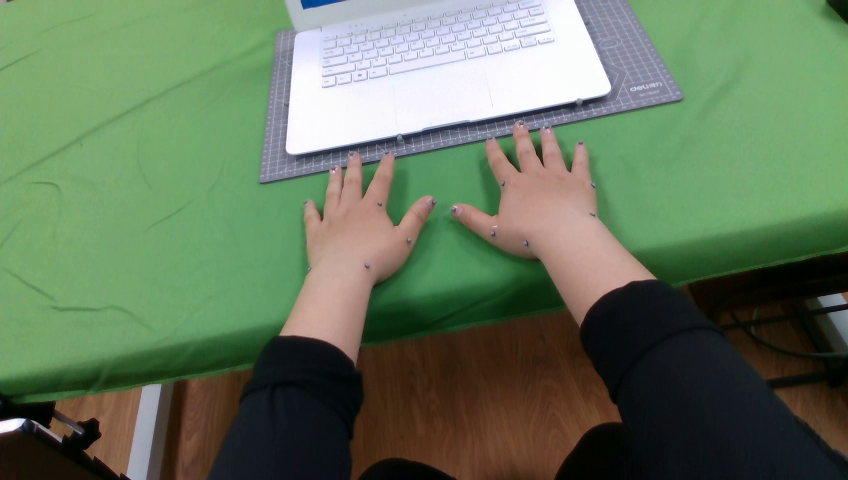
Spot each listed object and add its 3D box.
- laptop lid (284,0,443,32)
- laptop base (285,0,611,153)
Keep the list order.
[{"bbox_3d":[-0.018,-0.385,0.707,0.356,0.244,0.013,-11,42,6],"label":"laptop lid"},{"bbox_3d":[0.014,-0.208,0.712,0.354,0.023,0.233,-10,53,4],"label":"laptop base"}]
